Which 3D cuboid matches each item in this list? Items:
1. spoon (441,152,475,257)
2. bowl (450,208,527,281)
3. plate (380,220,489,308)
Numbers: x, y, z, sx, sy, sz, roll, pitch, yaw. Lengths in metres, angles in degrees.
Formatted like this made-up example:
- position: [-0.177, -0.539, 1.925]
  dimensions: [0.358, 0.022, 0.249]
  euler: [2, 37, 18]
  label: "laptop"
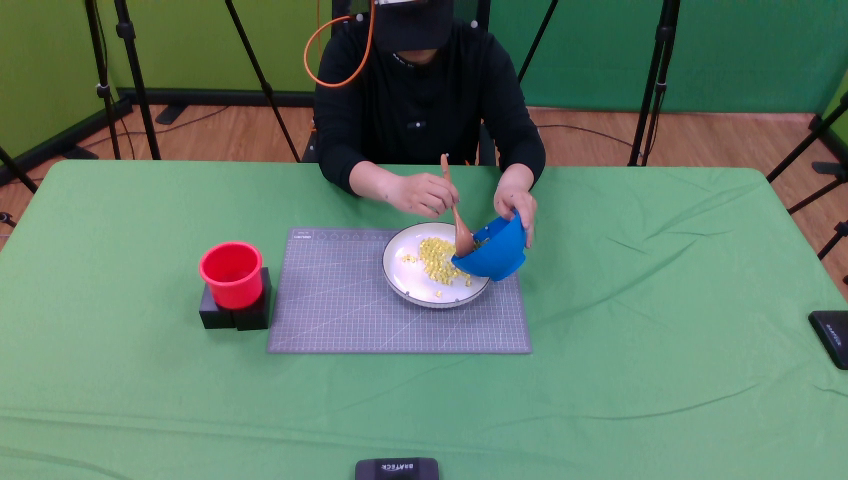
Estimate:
- position: [0.055, -0.062, 1.092]
  dimensions: [0.042, 0.194, 0.021]
  euler: [-19, 7, -25]
  label: "spoon"
- position: [0.129, 0.020, 1.070]
  dimensions: [0.077, 0.151, 0.151]
  euler: [51, 55, -7]
  label: "bowl"
- position: [0.022, 0.048, 1.138]
  dimensions: [0.208, 0.039, 0.206]
  euler: [2, 46, -2]
  label: "plate"
